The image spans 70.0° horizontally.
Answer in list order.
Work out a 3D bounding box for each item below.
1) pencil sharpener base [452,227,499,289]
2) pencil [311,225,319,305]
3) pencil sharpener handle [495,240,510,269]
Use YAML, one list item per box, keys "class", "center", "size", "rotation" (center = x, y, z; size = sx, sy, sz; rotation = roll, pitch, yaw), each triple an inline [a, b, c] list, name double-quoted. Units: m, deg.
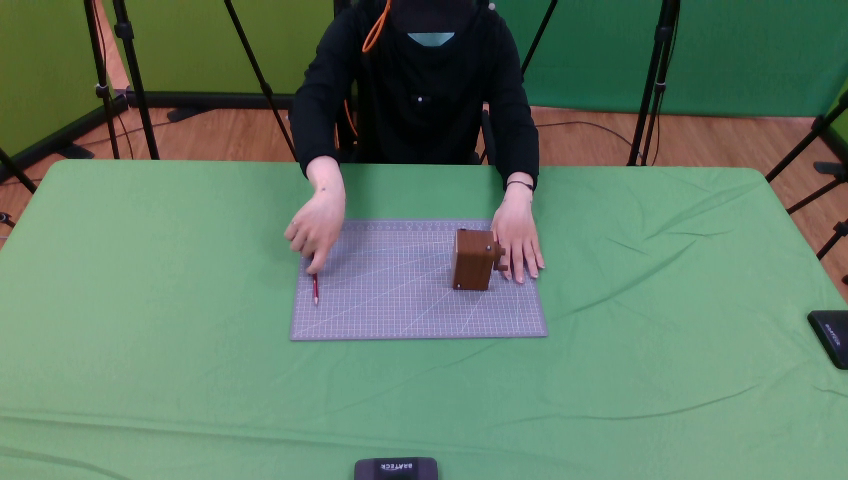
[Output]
- class: "pencil sharpener base"
  center: [0.093, 0.035, 1.102]
  size: [0.077, 0.107, 0.061]
  rotation: [3, 46, -1]
- class: "pencil"
  center: [-0.205, 0.044, 1.139]
  size: [0.012, 0.012, 0.192]
  rotation: [-5, 50, -8]
- class: "pencil sharpener handle"
  center: [0.144, 0.029, 1.095]
  size: [0.030, 0.068, 0.036]
  rotation: [3, 47, -1]
